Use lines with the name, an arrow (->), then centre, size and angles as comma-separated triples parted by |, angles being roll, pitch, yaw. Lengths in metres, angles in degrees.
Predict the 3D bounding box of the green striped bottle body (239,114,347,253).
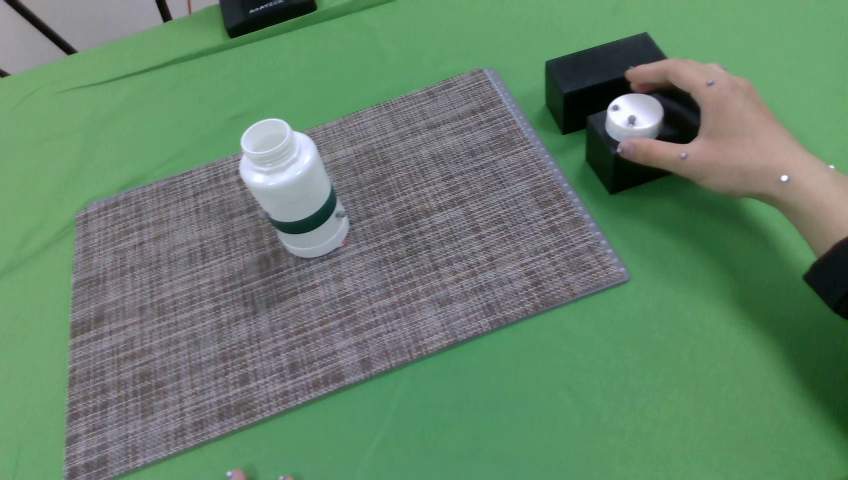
green striped bottle body -> -0.110, -0.047, 0.504 | 0.063, 0.120, 0.062 | -6, 53, 8

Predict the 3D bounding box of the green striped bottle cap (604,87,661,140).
green striped bottle cap -> 0.170, -0.104, 0.495 | 0.044, 0.020, 0.044 | -5, 53, 7
